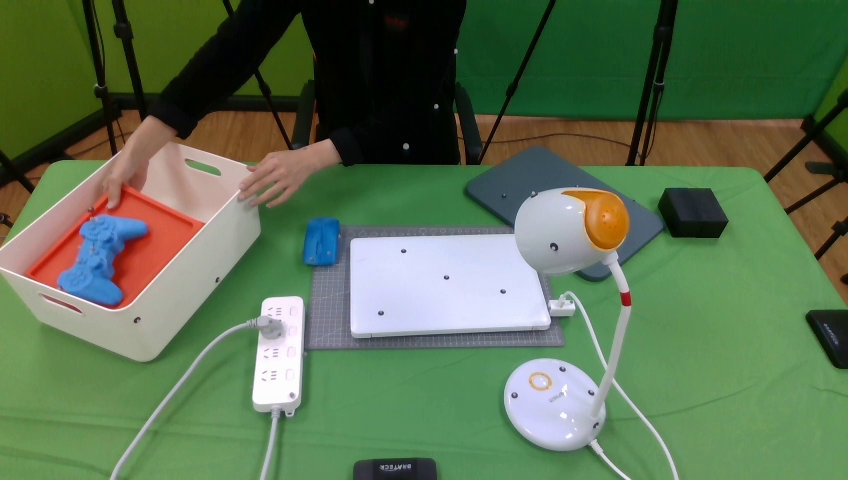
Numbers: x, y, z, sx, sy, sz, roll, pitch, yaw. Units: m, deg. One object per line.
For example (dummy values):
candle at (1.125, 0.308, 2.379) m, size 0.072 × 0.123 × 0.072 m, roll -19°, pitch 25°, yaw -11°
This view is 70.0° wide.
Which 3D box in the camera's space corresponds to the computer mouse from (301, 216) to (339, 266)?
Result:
computer mouse at (-0.200, -0.002, 1.169) m, size 0.063 × 0.041 × 0.116 m, roll 4°, pitch 50°, yaw -4°

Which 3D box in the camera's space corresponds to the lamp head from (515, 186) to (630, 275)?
lamp head at (0.188, -0.013, 0.728) m, size 0.112 × 0.112 × 0.122 m, roll -25°, pitch 9°, yaw -25°

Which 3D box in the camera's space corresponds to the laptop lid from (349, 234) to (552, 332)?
laptop lid at (0.040, 0.071, 1.117) m, size 0.357 × 0.013 × 0.240 m, roll 0°, pitch 44°, yaw -5°

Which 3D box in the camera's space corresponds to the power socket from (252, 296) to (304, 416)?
power socket at (-0.238, 0.182, 0.997) m, size 0.072 × 0.033 × 0.225 m, roll -3°, pitch 47°, yaw -5°

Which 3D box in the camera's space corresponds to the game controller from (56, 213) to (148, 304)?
game controller at (-0.502, 0.023, 0.942) m, size 0.097 × 0.052 × 0.154 m, roll 0°, pitch 55°, yaw 6°

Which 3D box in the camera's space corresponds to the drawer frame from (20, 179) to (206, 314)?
drawer frame at (-0.494, 0.028, 1.001) m, size 0.201 × 0.083 × 0.213 m, roll 25°, pitch 58°, yaw 13°

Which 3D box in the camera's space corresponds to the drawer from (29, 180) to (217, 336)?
drawer at (-0.490, 0.025, 1.002) m, size 0.194 × 0.073 × 0.211 m, roll 25°, pitch 60°, yaw 13°

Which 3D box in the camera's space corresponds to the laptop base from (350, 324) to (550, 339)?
laptop base at (0.039, 0.081, 1.124) m, size 0.355 × 0.023 × 0.234 m, roll -2°, pitch 43°, yaw -6°

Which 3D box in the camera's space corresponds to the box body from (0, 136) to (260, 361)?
box body at (-0.483, 0.006, 1.056) m, size 0.254 × 0.161 × 0.362 m, roll 17°, pitch 47°, yaw 12°

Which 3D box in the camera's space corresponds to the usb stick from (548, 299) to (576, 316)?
usb stick at (0.239, 0.121, 1.083) m, size 0.059 × 0.027 × 0.021 m, roll -1°, pitch 50°, yaw -2°

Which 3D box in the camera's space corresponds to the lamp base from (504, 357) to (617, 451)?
lamp base at (0.220, 0.211, 0.903) m, size 0.160 × 0.181 × 0.178 m, roll -33°, pitch 59°, yaw -30°

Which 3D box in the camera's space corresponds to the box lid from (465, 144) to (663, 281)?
box lid at (0.297, -0.072, 1.298) m, size 0.263 × 0.015 × 0.369 m, roll -33°, pitch 56°, yaw -31°

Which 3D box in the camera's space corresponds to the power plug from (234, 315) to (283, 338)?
power plug at (-0.270, 0.143, 1.000) m, size 0.072 × 0.053 × 0.035 m, roll 5°, pitch 47°, yaw 2°
